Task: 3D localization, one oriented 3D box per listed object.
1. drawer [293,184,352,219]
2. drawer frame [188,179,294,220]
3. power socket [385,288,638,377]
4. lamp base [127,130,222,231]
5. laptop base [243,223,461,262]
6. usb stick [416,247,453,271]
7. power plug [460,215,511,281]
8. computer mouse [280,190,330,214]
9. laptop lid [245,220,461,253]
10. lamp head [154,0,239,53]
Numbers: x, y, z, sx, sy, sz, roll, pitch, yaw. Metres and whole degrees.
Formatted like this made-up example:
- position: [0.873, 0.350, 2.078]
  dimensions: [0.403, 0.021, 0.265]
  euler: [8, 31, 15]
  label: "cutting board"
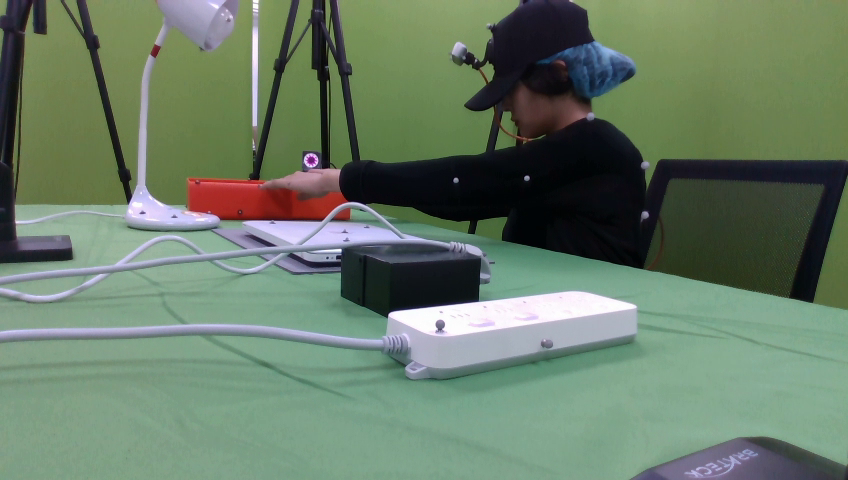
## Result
- position: [-0.297, -0.093, 1.422]
  dimensions: [0.213, 0.073, 0.193]
  euler: [-2, 10, -25]
  label: "drawer"
- position: [-0.416, -0.094, 1.368]
  dimensions: [0.214, 0.082, 0.201]
  euler: [-2, 9, -24]
  label: "drawer frame"
- position: [0.074, 0.064, 0.462]
  dimensions: [0.228, 0.032, 0.072]
  euler: [-3, 8, -34]
  label: "power socket"
- position: [-0.469, -0.112, 1.108]
  dimensions: [0.179, 0.180, 0.160]
  euler: [0, 7, 3]
  label: "lamp base"
- position: [-0.126, 0.003, 0.945]
  dimensions: [0.237, 0.023, 0.352]
  euler: [2, 6, -31]
  label: "laptop base"
- position: [0.009, 0.024, 0.755]
  dimensions: [0.027, 0.021, 0.059]
  euler: [37, -17, -17]
  label: "usb stick"
- position: [0.064, 0.011, 0.624]
  dimensions: [0.053, 0.072, 0.035]
  euler: [-5, 40, -1]
  label: "power plug"
- position: [-0.280, -0.090, 1.419]
  dimensions: [0.117, 0.041, 0.062]
  euler: [-18, 16, -19]
  label: "computer mouse"
- position: [-0.124, -0.009, 0.945]
  dimensions: [0.243, 0.013, 0.355]
  euler: [1, 7, -29]
  label: "laptop lid"
- position: [-0.406, -0.402, 1.059]
  dimensions: [0.123, 0.112, 0.112]
  euler: [25, 5, -6]
  label: "lamp head"
